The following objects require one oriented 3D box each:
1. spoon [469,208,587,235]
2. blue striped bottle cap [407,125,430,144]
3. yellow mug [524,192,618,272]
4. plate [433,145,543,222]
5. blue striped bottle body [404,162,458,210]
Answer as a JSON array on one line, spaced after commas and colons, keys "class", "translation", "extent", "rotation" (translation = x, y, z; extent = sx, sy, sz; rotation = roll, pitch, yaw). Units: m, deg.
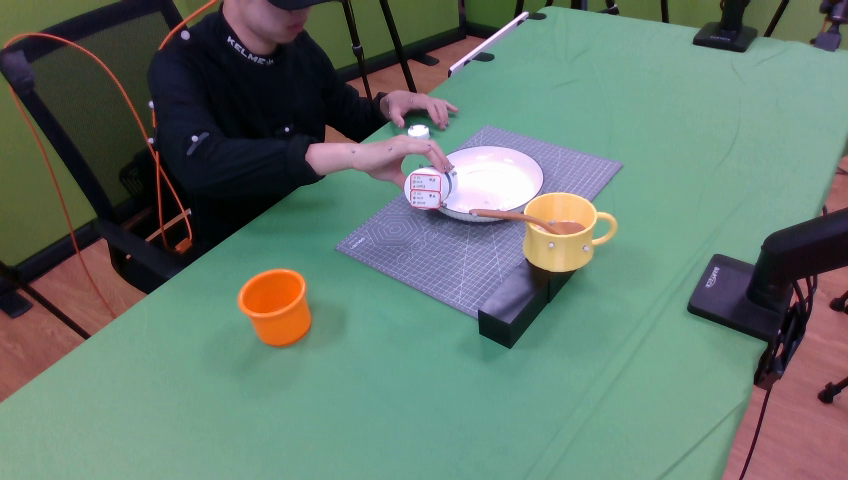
[{"class": "spoon", "translation": [0.143, -0.026, 0.817], "extent": [0.195, 0.021, 0.041], "rotation": [12, 34, -29]}, {"class": "blue striped bottle cap", "translation": [-0.012, -0.214, 1.227], "extent": [0.044, 0.021, 0.044], "rotation": [-6, 37, 5]}, {"class": "yellow mug", "translation": [0.206, -0.013, 0.845], "extent": [0.131, 0.064, 0.099], "rotation": [-3, 40, 2]}, {"class": "plate", "translation": [0.101, -0.094, 1.048], "extent": [0.207, 0.039, 0.206], "rotation": [-4, 41, 4]}, {"class": "blue striped bottle body", "translation": [0.015, -0.089, 0.957], "extent": [0.063, 0.063, 0.121], "rotation": [6, 15, 16]}]
